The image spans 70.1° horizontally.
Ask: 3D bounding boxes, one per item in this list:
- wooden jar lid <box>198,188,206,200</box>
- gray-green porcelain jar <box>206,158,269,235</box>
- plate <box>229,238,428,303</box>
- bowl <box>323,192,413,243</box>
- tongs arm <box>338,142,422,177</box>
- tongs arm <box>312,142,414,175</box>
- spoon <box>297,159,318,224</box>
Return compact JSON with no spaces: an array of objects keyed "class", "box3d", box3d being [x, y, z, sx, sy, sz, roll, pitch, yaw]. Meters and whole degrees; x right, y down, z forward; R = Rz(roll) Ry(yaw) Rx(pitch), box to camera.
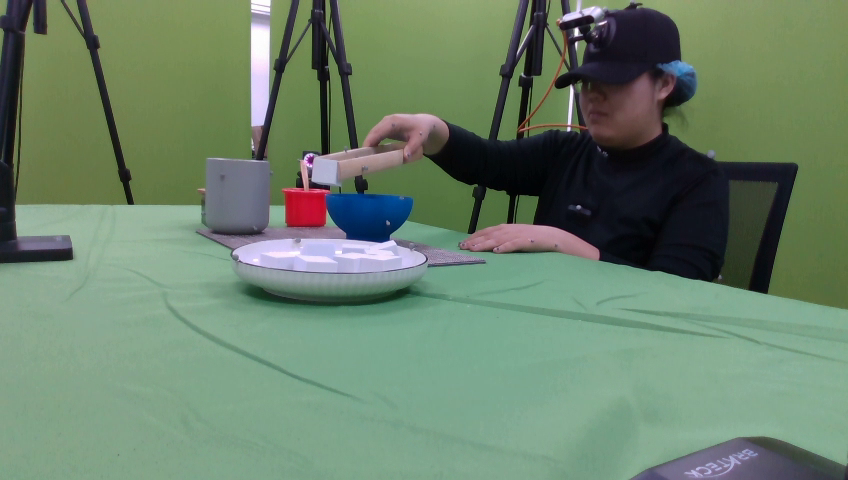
[{"class":"wooden jar lid","box3d":[-0.382,-0.088,1.175,0.108,0.020,0.108,3,8,0]},{"class":"gray-green porcelain jar","box3d":[-0.322,-0.076,1.048,0.106,0.126,0.106,3,7,0]},{"class":"plate","box3d":[-0.099,0.032,0.651,0.209,0.038,0.209,3,8,0]},{"class":"bowl","box3d":[-0.094,-0.037,1.015,0.151,0.077,0.151,3,7,0]},{"class":"tongs arm","box3d":[-0.059,-0.131,0.952,0.028,0.028,0.388,1,12,16]},{"class":"tongs arm","box3d":[-0.082,-0.134,0.958,0.050,0.026,0.385,3,13,11]},{"class":"spoon","box3d":[-0.244,-0.103,1.251,0.042,0.021,0.193,1,51,-17]}]
